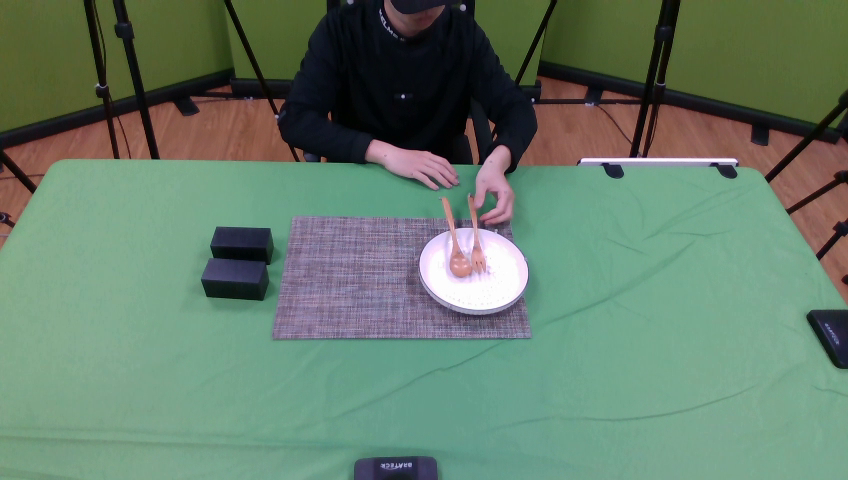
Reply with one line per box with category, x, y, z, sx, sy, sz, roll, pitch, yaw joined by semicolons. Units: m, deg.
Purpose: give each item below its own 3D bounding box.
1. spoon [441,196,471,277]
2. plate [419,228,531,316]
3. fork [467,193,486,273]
spoon;0.056;-0.010;1.176;0.041;0.022;0.192;-6;60;-6
plate;0.093;0.062;1.130;0.208;0.039;0.206;2;46;-2
fork;0.100;-0.017;1.188;0.028;0.019;0.206;-3;54;-1
